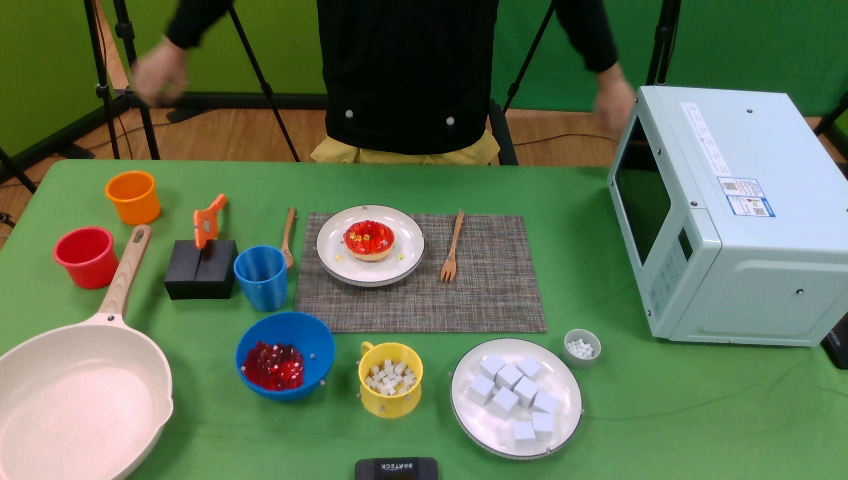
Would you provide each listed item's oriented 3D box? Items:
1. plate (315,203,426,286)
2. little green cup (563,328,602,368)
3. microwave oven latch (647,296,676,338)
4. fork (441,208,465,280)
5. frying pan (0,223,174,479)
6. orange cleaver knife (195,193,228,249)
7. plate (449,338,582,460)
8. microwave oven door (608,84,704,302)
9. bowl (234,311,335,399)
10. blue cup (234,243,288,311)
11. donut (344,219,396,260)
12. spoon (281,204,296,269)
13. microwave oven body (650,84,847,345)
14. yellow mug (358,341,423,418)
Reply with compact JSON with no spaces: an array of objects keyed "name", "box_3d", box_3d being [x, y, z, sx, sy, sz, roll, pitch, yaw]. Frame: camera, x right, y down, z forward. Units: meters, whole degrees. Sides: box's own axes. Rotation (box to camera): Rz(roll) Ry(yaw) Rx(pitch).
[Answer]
[{"name":"plate","box_3d":[-0.101,0.012,1.159,0.209,0.038,0.208,2,46,-2]},{"name":"little green cup","box_3d":[0.266,0.185,1.025,0.061,0.039,0.061,2,45,-2]},{"name":"microwave oven latch","box_3d":[0.413,0.133,1.060,0.030,0.029,0.078,4,46,1]},{"name":"fork","box_3d":[0.061,0.005,1.190,0.028,0.019,0.206,1,47,15]},{"name":"frying pan","box_3d":[-0.505,0.169,0.941,0.307,0.103,0.485,5,54,-1]},{"name":"orange cleaver knife","box_3d":[-0.406,-0.041,1.163,0.012,0.077,0.210,0,18,-3]},{"name":"plate","box_3d":[0.141,0.251,0.955,0.208,0.039,0.206,2,46,-2]},{"name":"microwave oven door","box_3d":[0.424,-0.096,1.138,0.039,0.245,0.353,3,46,-1]},{"name":"bowl","box_3d":[-0.214,0.194,0.956,0.151,0.077,0.150,2,46,-2]},{"name":"blue cup","box_3d":[-0.276,0.072,1.052,0.093,0.101,0.092,1,48,-1]},{"name":"donut","box_3d":[-0.102,-0.003,1.157,0.099,0.048,0.098,3,43,-3]},{"name":"spoon","box_3d":[-0.266,-0.008,1.181,0.041,0.022,0.192,-13,46,11]},{"name":"microwave oven body","box_3d":[0.569,-0.054,1.116,0.326,0.261,0.439,2,46,-1]},{"name":"yellow mug","box_3d":[-0.063,0.210,0.960,0.100,0.064,0.130,-29,54,-28]}]
